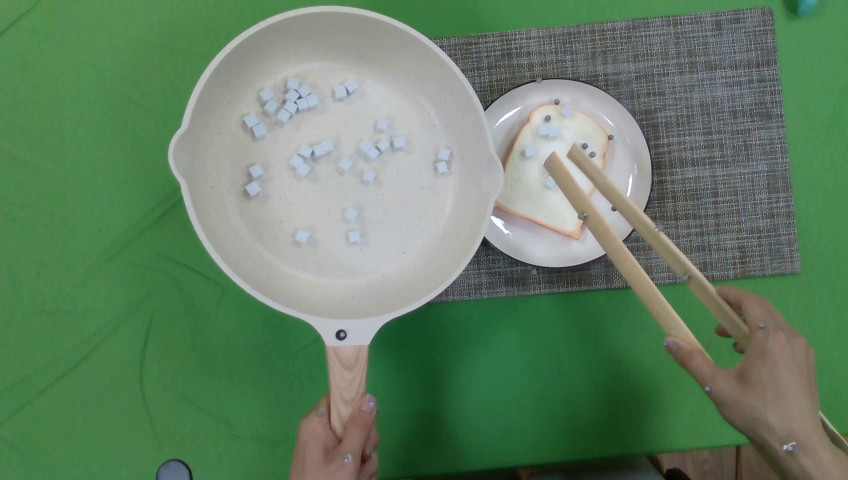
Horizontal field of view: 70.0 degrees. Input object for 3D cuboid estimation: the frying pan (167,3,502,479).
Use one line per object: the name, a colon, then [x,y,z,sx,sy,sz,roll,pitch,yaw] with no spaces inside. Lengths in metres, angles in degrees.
frying pan: [-0.075,0.033,0.567,0.308,0.102,0.486,2,81,-17]

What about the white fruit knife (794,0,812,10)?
white fruit knife: [0.414,-0.359,0.649,0.016,0.027,0.208,-4,102,0]

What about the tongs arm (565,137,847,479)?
tongs arm: [0.247,0.057,0.551,0.051,0.026,0.382,-33,75,-25]

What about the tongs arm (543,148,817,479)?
tongs arm: [0.229,0.067,0.543,0.028,0.028,0.385,-27,73,-27]

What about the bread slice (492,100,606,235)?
bread slice: [0.138,-0.085,0.669,0.107,0.018,0.134,19,91,2]

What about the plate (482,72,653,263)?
plate: [0.142,-0.078,0.666,0.207,0.039,0.207,0,88,2]
